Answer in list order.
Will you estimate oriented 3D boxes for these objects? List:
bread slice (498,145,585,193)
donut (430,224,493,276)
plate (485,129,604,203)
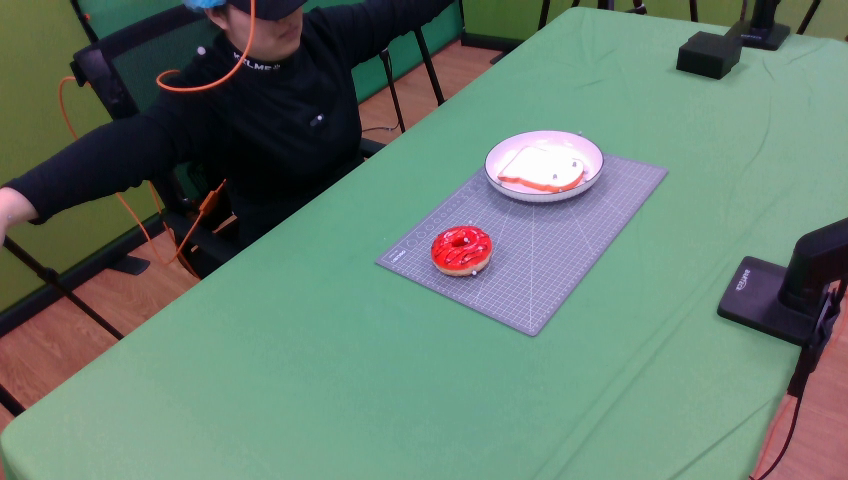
[{"bbox_3d":[0.215,-0.125,1.076,0.133,0.018,0.107,16,48,28],"label":"bread slice"},{"bbox_3d":[0.057,0.014,0.934,0.099,0.048,0.098,-7,40,6],"label":"donut"},{"bbox_3d":[0.213,-0.129,1.079,0.209,0.038,0.208,-5,40,5],"label":"plate"}]
